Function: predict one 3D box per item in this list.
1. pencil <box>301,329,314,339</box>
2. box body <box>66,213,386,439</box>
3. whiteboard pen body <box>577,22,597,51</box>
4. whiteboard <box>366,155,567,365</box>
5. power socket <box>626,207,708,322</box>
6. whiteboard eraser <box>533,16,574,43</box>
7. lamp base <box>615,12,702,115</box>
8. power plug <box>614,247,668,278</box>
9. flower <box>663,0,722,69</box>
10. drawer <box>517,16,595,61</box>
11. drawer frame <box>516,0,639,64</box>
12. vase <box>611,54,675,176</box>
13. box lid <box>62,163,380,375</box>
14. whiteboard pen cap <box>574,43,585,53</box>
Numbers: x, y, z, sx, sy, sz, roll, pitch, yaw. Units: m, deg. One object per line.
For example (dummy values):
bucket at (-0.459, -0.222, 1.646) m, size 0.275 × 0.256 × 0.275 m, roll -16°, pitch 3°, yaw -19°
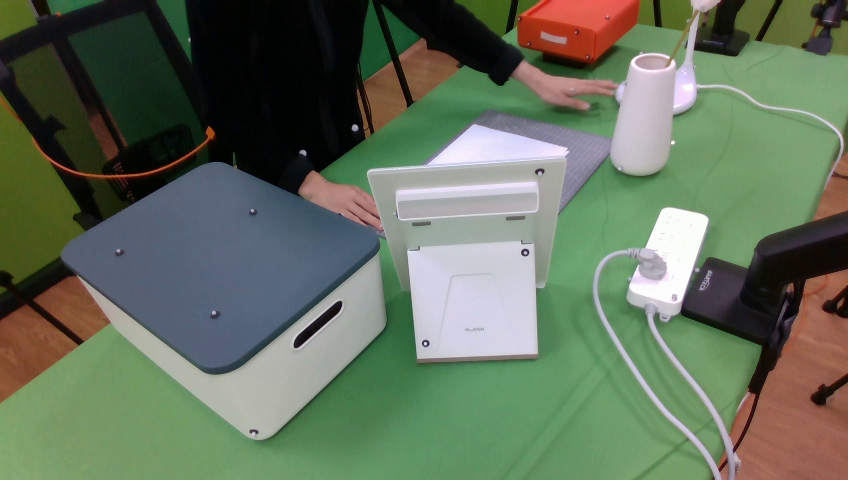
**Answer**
pencil at (-0.202, 0.115, 0.876) m, size 0.192 × 0.012 × 0.012 m, roll 22°, pitch 48°, yaw 39°
box body at (-0.257, 0.068, 0.824) m, size 0.361 × 0.161 × 0.255 m, roll 24°, pitch 49°, yaw 31°
whiteboard pen body at (0.373, -0.468, 1.390) m, size 0.017 × 0.017 × 0.141 m, roll 14°, pitch 47°, yaw 23°
whiteboard at (0.059, 0.050, 0.738) m, size 0.217 × 0.307 × 0.143 m, roll -3°, pitch 60°, yaw 5°
power socket at (0.359, 0.026, 0.886) m, size 0.072 × 0.033 × 0.227 m, roll 16°, pitch 46°, yaw 26°
whiteboard eraser at (0.305, -0.493, 1.422) m, size 0.055 × 0.042 × 0.113 m, roll 27°, pitch 43°, yaw 25°
lamp base at (0.484, -0.363, 1.211) m, size 0.180 × 0.181 × 0.159 m, roll -15°, pitch 41°, yaw -14°
power plug at (0.306, 0.031, 0.851) m, size 0.072 × 0.053 × 0.035 m, roll 24°, pitch 49°, yaw 33°
flower at (0.379, -0.261, 0.965) m, size 0.044 × 0.362 × 0.038 m, roll 21°, pitch 53°, yaw 5°
drawer at (0.353, -0.505, 1.404) m, size 0.193 × 0.073 × 0.212 m, roll 25°, pitch 50°, yaw 33°
drawer frame at (0.356, -0.507, 1.410) m, size 0.200 × 0.083 × 0.214 m, roll 25°, pitch 51°, yaw 32°
vase at (0.377, -0.209, 1.031) m, size 0.098 × 0.201 × 0.097 m, roll -3°, pitch 40°, yaw 3°
box lid at (-0.263, 0.012, 0.774) m, size 0.368 × 0.015 × 0.264 m, roll 23°, pitch 49°, yaw 32°
whiteboard pen cap at (0.346, -0.430, 1.350) m, size 0.018 × 0.018 × 0.033 m, roll 16°, pitch 39°, yaw 25°
